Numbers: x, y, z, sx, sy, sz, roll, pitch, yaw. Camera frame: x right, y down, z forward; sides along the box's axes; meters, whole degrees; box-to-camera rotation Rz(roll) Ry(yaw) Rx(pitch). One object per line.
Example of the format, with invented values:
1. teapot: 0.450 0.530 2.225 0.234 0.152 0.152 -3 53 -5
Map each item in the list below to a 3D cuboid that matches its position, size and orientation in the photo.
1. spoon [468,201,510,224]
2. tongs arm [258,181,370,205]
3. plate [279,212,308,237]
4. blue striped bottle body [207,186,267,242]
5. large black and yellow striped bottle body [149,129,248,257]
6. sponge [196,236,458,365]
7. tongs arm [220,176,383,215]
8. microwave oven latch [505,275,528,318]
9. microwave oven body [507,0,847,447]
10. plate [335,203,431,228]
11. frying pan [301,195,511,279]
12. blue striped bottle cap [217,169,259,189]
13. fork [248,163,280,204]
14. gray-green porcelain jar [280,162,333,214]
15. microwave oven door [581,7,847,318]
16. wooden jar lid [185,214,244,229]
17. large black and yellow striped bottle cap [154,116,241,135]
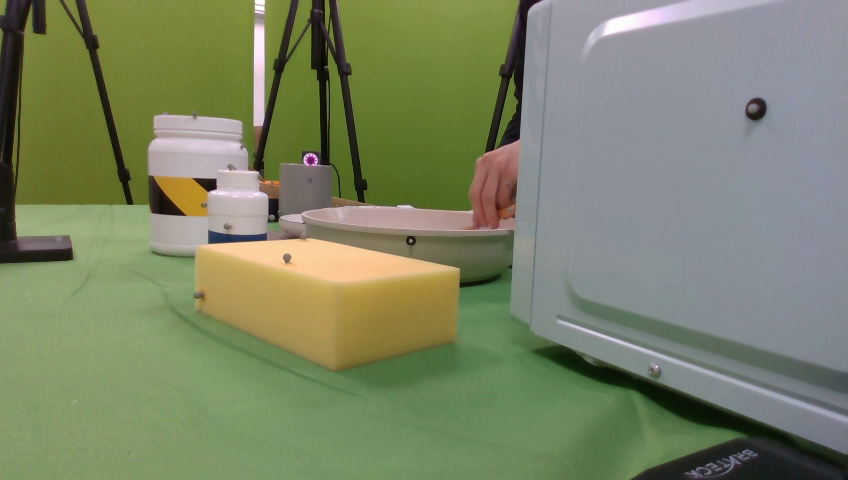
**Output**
1. spoon: 0.082 -0.028 0.811 0.042 0.021 0.193 33 -33 -18
2. tongs arm: -0.241 -0.095 1.373 0.387 0.026 0.050 9 0 -37
3. plate: -0.139 -0.022 1.021 0.209 0.038 0.209 2 8 0
4. blue striped bottle body: -0.204 -0.016 0.663 0.063 0.120 0.063 2 7 0
5. large black and yellow striped bottle body: -0.315 -0.075 0.854 0.131 0.184 0.130 2 7 0
6. sponge: -0.087 0.039 0.500 0.206 0.061 0.119 8 9 44
7. tongs arm: -0.285 -0.104 1.445 0.389 0.027 0.028 9 -4 -23
8. microwave oven latch: 0.100 0.041 0.472 0.079 0.029 0.030 -2 8 -30
9. microwave oven body: 0.331 -0.042 0.425 0.444 0.260 0.324 -2 8 -31
10. plate: -0.089 -0.053 1.309 0.208 0.039 0.207 2 8 0
11. frying pan: 0.050 -0.028 0.864 0.305 0.102 0.490 8 18 35
12. blue striped bottle cap: -0.202 -0.067 0.656 0.044 0.020 0.044 0 10 0
13. fork: -0.396 -0.143 1.486 0.028 0.018 0.208 20 -26 45
14. gray-green porcelain jar: -0.238 -0.092 1.221 0.106 0.126 0.106 2 7 0
15. microwave oven door: 0.295 -0.067 0.569 0.358 0.243 0.039 -3 8 -31
16. wooden jar lid: -0.404 -0.037 1.169 0.108 0.020 0.108 3 7 0
17. large black and yellow striped bottle cap: -0.314 -0.158 0.843 0.115 0.019 0.115 3 7 0
